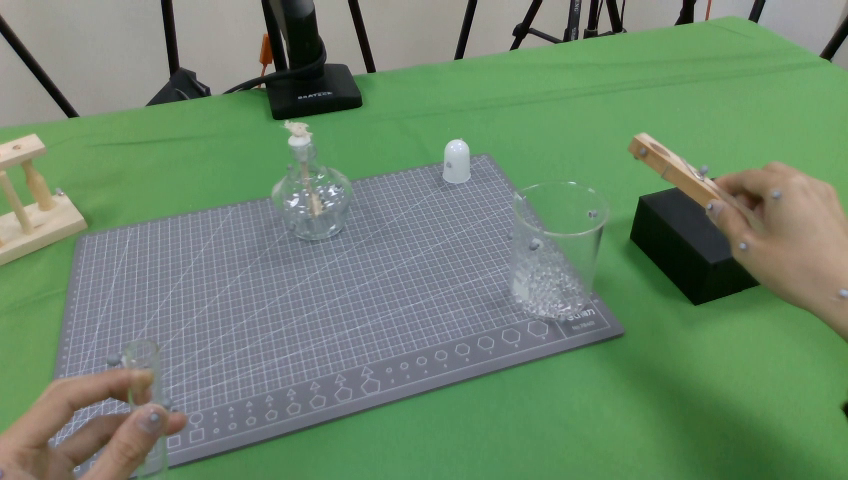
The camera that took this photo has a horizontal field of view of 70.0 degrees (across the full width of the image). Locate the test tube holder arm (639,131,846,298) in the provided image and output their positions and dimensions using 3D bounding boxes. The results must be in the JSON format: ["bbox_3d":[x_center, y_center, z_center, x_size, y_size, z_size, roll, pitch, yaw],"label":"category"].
[{"bbox_3d":[0.219,-0.024,0.436,0.013,0.015,0.176,-23,56,-31],"label":"test tube holder arm"}]

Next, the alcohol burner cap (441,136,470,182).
[{"bbox_3d":[0.034,-0.092,0.668,0.034,0.048,0.033,-1,41,1],"label":"alcohol burner cap"}]

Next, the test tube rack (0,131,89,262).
[{"bbox_3d":[-0.460,-0.009,0.559,0.242,0.086,0.066,-31,48,-30],"label":"test tube rack"}]

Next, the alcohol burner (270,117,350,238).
[{"bbox_3d":[-0.112,-0.062,0.583,0.078,0.120,0.077,-2,40,2],"label":"alcohol burner"}]

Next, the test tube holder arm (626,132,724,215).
[{"bbox_3d":[0.188,-0.051,0.455,0.010,0.015,0.087,-23,55,-31],"label":"test tube holder arm"}]

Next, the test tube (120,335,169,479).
[{"bbox_3d":[-0.144,0.111,0.319,0.017,0.151,0.017,9,30,-5],"label":"test tube"}]

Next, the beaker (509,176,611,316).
[{"bbox_3d":[0.106,0.007,0.506,0.083,0.101,0.074,30,50,33],"label":"beaker"}]
